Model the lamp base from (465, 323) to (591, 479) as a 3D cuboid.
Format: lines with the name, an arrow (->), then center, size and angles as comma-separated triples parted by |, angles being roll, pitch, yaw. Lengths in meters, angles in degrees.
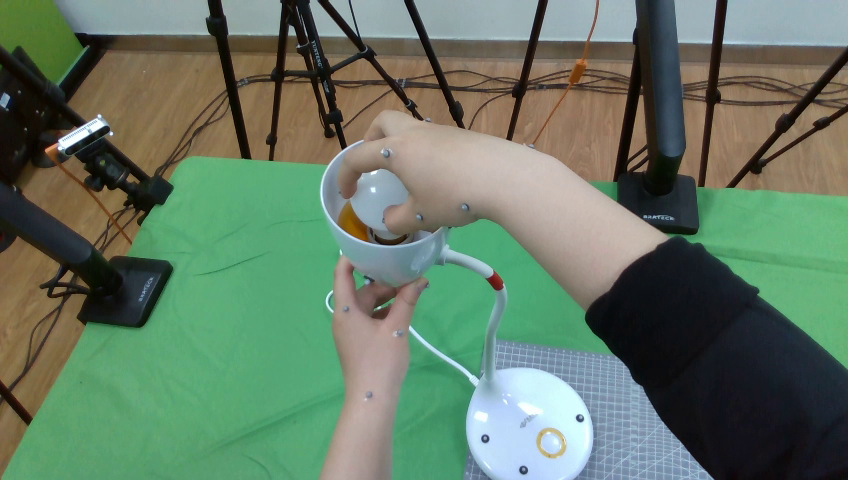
lamp base -> 0.113, 0.179, 0.721 | 0.177, 0.182, 0.160 | 29, 62, 28

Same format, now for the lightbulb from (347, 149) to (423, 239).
lightbulb -> -0.031, -0.030, 0.493 | 0.059, 0.108, 0.059 | 0, 62, 0

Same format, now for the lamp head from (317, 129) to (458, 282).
lamp head -> -0.025, -0.016, 0.522 | 0.112, 0.124, 0.111 | -2, 58, 4
